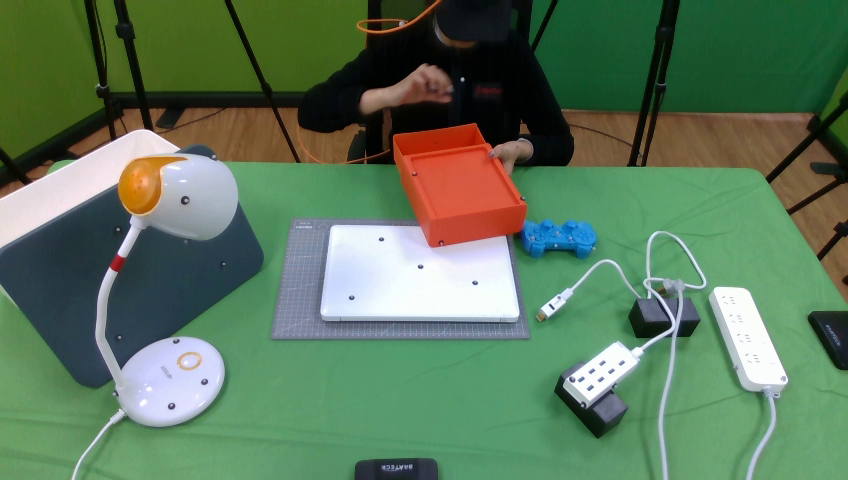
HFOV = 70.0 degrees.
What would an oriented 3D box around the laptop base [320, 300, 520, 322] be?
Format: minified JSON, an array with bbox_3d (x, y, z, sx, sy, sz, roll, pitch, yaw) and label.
[{"bbox_3d":[-0.008,0.062,1.138,0.354,0.023,0.234,0,43,-3],"label":"laptop base"}]

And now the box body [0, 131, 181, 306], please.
[{"bbox_3d":[-0.550,-0.007,1.068,0.253,0.161,0.363,30,51,23],"label":"box body"}]

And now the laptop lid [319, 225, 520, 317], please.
[{"bbox_3d":[-0.008,0.052,1.131,0.357,0.013,0.240,2,44,-2],"label":"laptop lid"}]

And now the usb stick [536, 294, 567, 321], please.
[{"bbox_3d":[0.226,0.123,1.083,0.059,0.027,0.021,-38,77,-8],"label":"usb stick"}]

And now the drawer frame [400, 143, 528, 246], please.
[{"bbox_3d":[0.075,-0.098,1.229,0.202,0.083,0.212,-10,45,-14],"label":"drawer frame"}]

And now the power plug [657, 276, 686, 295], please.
[{"bbox_3d":[0.450,0.087,1.113,0.073,0.052,0.035,-13,71,-55],"label":"power plug"}]

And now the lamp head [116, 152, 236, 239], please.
[{"bbox_3d":[-0.315,-0.057,0.748,0.112,0.112,0.123,26,10,20],"label":"lamp head"}]

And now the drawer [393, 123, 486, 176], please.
[{"bbox_3d":[0.051,-0.152,1.288,0.195,0.073,0.210,-10,46,-12],"label":"drawer"}]

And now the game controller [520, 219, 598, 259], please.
[{"bbox_3d":[0.270,-0.012,1.210,0.155,0.052,0.096,1,50,-2],"label":"game controller"}]

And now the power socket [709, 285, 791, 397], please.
[{"bbox_3d":[0.568,0.168,1.064,0.072,0.033,0.225,2,46,0],"label":"power socket"}]

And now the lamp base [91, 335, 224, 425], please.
[{"bbox_3d":[-0.401,0.171,0.892,0.160,0.181,0.179,30,53,23],"label":"lamp base"}]

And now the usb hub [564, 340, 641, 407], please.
[{"bbox_3d":[0.278,0.205,0.944,0.125,0.025,0.049,-27,52,-28],"label":"usb hub"}]

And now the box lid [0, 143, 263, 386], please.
[{"bbox_3d":[-0.444,0.032,0.979,0.015,0.264,0.371,13,42,41],"label":"box lid"}]
